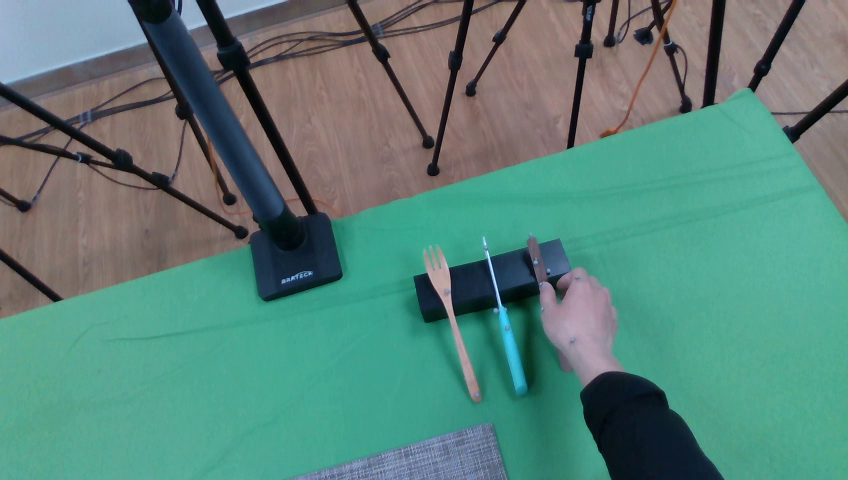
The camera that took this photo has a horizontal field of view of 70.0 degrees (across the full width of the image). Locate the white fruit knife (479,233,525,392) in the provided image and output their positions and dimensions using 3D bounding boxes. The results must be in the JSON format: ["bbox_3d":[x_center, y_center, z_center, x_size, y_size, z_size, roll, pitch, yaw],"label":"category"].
[{"bbox_3d":[0.095,0.089,0.768,0.016,0.027,0.206,-13,79,-3],"label":"white fruit knife"}]

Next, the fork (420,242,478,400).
[{"bbox_3d":[0.034,0.102,0.770,0.028,0.018,0.206,-17,83,-5],"label":"fork"}]

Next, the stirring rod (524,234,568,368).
[{"bbox_3d":[0.155,0.077,0.771,0.014,0.006,0.176,-15,89,2],"label":"stirring rod"}]
